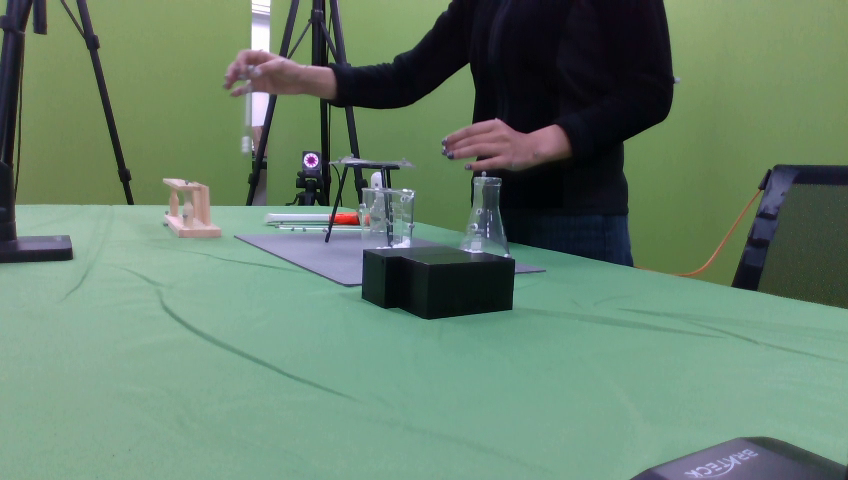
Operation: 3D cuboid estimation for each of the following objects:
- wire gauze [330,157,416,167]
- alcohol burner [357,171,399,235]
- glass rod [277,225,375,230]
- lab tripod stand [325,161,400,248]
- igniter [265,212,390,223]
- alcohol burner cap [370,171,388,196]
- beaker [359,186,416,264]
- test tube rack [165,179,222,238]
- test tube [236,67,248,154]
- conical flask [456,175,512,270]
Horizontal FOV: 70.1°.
[{"bbox_3d":[-0.079,-0.126,0.972,0.121,0.011,0.125,4,8,5],"label":"wire gauze"},{"bbox_3d":[-0.085,-0.069,1.125,0.078,0.119,0.078,3,10,0],"label":"alcohol burner"},{"bbox_3d":[-0.187,-0.024,1.178,0.201,0.008,0.008,1,6,-31],"label":"glass rod"},{"bbox_3d":[-0.083,-0.060,0.977,0.148,0.131,0.148,4,7,0],"label":"lab tripod stand"},{"bbox_3d":[-0.196,-0.048,1.286,0.278,0.025,0.057,-2,-2,-30],"label":"igniter"},{"bbox_3d":[-0.085,-0.104,1.121,0.034,0.048,0.034,-4,7,1],"label":"alcohol burner cap"},{"bbox_3d":[-0.048,-0.020,0.817,0.083,0.100,0.074,10,10,41],"label":"beaker"},{"bbox_3d":[-0.423,-0.062,1.098,0.067,0.085,0.241,-2,9,-28],"label":"test tube rack"},{"bbox_3d":[-0.317,-0.224,1.054,0.017,0.150,0.017,7,15,-2],"label":"test tube"},{"bbox_3d":[0.082,-0.025,0.801,0.075,0.122,0.075,2,7,0],"label":"conical flask"}]
